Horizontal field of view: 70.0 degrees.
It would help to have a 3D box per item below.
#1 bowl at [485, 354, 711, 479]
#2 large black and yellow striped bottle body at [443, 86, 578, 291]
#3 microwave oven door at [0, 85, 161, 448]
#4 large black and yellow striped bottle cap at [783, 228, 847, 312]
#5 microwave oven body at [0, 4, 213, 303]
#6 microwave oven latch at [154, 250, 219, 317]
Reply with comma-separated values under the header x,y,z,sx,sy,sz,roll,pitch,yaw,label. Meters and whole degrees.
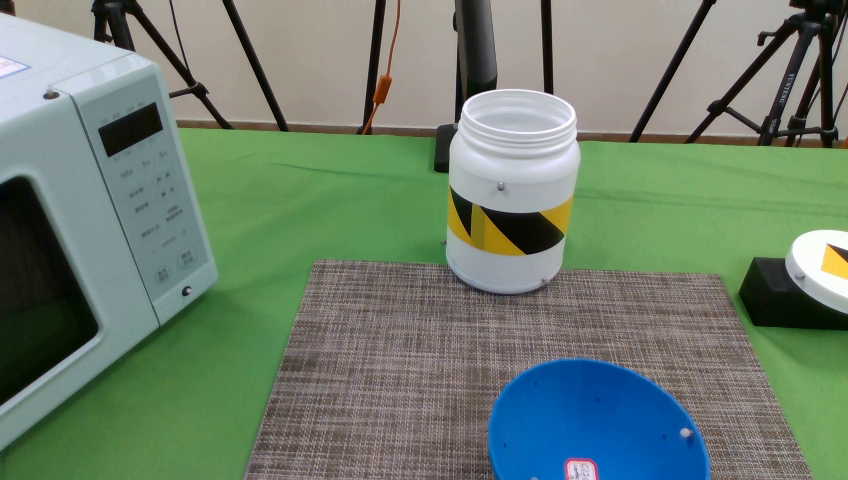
x,y,z,sx,sy,sz,roll,pitch,yaw,label
0.117,0.166,0.442,0.151,0.077,0.150,0,39,0,bowl
0.087,-0.054,0.631,0.131,0.185,0.129,1,36,0,large black and yellow striped bottle body
-0.355,0.077,0.393,0.039,0.246,0.355,20,43,23,microwave oven door
0.416,0.029,0.592,0.115,0.019,0.114,0,38,1,large black and yellow striped bottle cap
-0.460,0.012,0.480,0.324,0.262,0.440,21,44,23,microwave oven body
-0.242,0.040,0.604,0.030,0.030,0.079,23,44,24,microwave oven latch
